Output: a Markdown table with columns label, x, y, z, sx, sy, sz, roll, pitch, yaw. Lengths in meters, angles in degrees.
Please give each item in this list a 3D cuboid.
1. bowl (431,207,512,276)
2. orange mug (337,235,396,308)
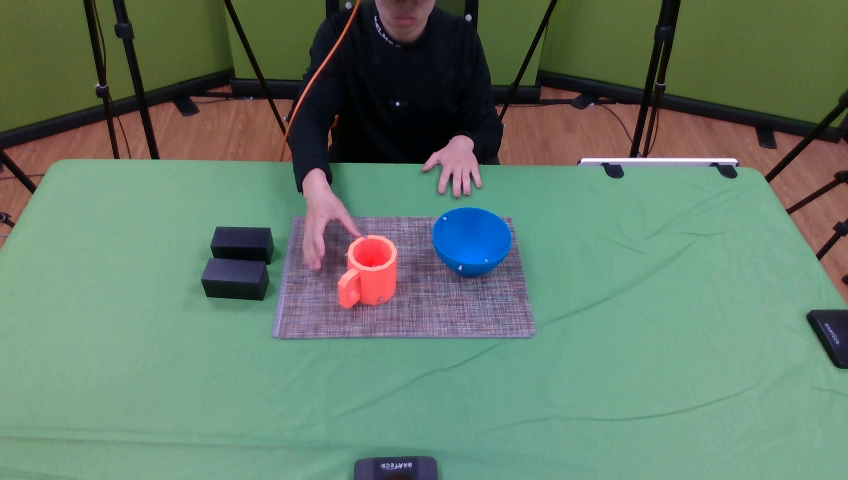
| label | x | y | z | sx | sy | sz | roll | pitch | yaw |
| --- | --- | --- | --- | --- | --- | --- | --- | --- | --- |
| bowl | 0.086 | 0.016 | 1.147 | 0.151 | 0.077 | 0.150 | 3 | 46 | -2 |
| orange mug | -0.104 | 0.063 | 1.073 | 0.083 | 0.101 | 0.126 | 32 | 48 | 24 |
